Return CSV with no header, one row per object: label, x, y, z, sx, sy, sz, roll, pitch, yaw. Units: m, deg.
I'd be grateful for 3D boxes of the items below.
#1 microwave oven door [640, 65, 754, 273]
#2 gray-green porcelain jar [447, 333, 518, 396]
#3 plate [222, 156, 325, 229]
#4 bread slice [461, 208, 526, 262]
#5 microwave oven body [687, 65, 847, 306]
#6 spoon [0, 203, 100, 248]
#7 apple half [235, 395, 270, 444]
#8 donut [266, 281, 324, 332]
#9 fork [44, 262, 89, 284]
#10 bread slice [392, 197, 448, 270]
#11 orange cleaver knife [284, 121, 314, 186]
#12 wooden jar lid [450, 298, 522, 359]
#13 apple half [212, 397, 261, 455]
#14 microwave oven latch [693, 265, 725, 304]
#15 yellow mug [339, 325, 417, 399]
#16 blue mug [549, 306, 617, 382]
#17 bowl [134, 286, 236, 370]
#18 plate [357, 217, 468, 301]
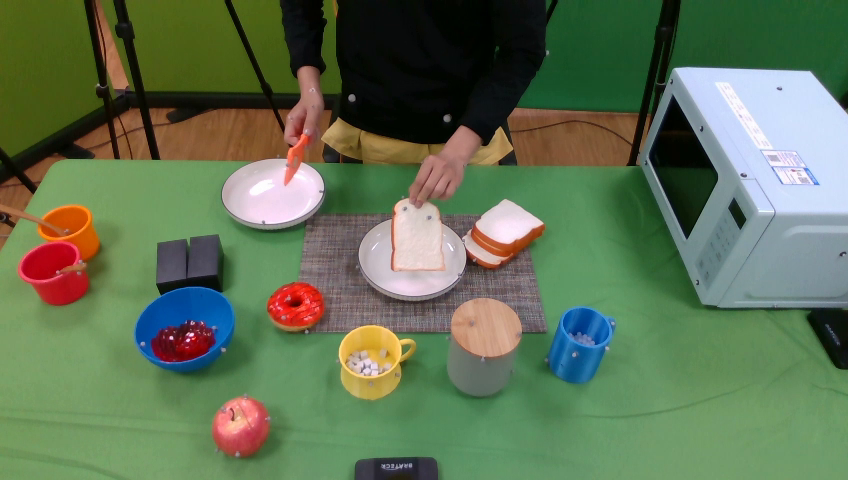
microwave oven door,0.523,-0.147,1.193,0.039,0.245,0.353,0,47,-3
gray-green porcelain jar,0.091,0.178,0.960,0.106,0.127,0.105,2,46,-2
plate,-0.308,-0.095,1.251,0.209,0.038,0.208,3,46,-2
bread slice,0.127,-0.008,1.194,0.104,0.019,0.131,20,49,24
microwave oven body,0.669,-0.111,1.176,0.326,0.261,0.439,0,46,-3
spoon,-0.683,-0.031,1.088,0.195,0.021,0.041,33,33,-38
apple half,-0.245,0.259,0.893,0.033,0.082,0.081,-29,55,-22
donut,-0.222,0.114,1.049,0.099,0.048,0.098,2,45,-2
fork,-0.598,0.054,1.014,0.207,0.019,0.028,-15,29,45
bread slice,-0.013,-0.011,1.086,0.107,0.018,0.134,-3,81,-31
orange cleaver knife,-0.237,-0.168,1.148,0.012,0.077,0.210,11,29,-3
wooden jar lid,0.093,0.135,0.914,0.108,0.021,0.107,2,48,-3
apple half,-0.276,0.276,0.877,0.053,0.075,0.080,-29,58,-21
microwave oven latch,0.522,0.081,1.115,0.030,0.029,0.078,2,46,-1
yellow mug,-0.072,0.190,0.978,0.131,0.064,0.099,-17,50,-20
blue mug,0.269,0.166,0.998,0.116,0.106,0.082,-19,51,-21
bowl,-0.377,0.155,0.981,0.151,0.077,0.150,2,46,-2
plate,-0.022,0.037,1.141,0.208,0.039,0.206,2,46,-2
